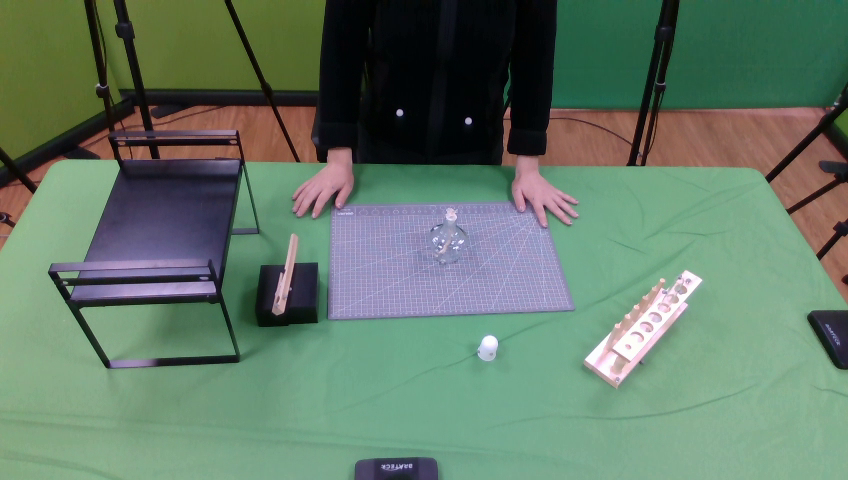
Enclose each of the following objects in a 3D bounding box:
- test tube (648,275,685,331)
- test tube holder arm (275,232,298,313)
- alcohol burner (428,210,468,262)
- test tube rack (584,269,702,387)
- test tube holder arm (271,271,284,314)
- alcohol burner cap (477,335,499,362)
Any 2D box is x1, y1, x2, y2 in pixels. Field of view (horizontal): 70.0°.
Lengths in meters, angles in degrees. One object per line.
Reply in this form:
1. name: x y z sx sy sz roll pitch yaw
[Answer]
1. test tube: 0.401 0.109 1.007 0.017 0.151 0.017 1 50 0
2. test tube holder arm: -0.238 0.053 1.057 0.013 0.015 0.177 -21 42 21
3. alcohol burner: 0.048 -0.015 1.146 0.078 0.119 0.077 3 48 -3
4. test tube rack: 0.380 0.139 1.046 0.066 0.085 0.242 37 54 28
5. test tube holder arm: -0.244 0.087 1.028 0.010 0.015 0.087 -21 42 22
6. alcohol burner cap: 0.109 0.179 1.017 0.034 0.048 0.033 4 50 -4
